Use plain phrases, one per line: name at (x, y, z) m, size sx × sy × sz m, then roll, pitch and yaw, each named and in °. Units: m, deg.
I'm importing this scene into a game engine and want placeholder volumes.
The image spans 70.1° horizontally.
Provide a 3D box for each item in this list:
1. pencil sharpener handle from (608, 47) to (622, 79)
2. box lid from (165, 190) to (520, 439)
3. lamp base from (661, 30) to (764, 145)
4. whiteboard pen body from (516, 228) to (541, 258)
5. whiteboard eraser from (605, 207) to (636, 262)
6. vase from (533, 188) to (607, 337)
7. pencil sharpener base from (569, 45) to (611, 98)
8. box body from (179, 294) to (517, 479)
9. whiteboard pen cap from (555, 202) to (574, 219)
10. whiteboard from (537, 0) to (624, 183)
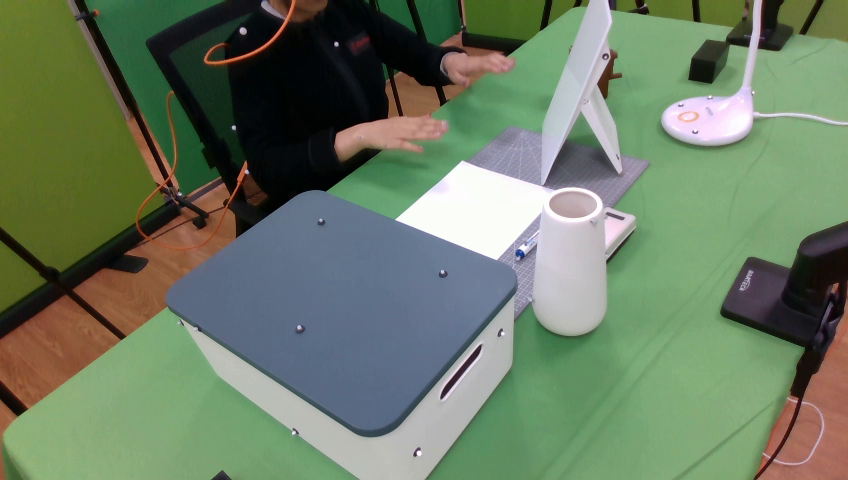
pencil sharpener handle at (0.395, -0.369, 1.254) m, size 0.031 × 0.068 × 0.036 m, roll -10°, pitch 32°, yaw -1°
box lid at (-0.104, 0.056, 0.711) m, size 0.368 × 0.015 × 0.264 m, roll 22°, pitch 49°, yaw 32°
lamp base at (0.535, -0.287, 1.096) m, size 0.179 × 0.181 × 0.159 m, roll -10°, pitch 40°, yaw -4°
whiteboard pen body at (0.192, -0.015, 0.964) m, size 0.017 × 0.017 × 0.141 m, roll 27°, pitch 51°, yaw 34°
whiteboard eraser at (0.272, -0.003, 0.919) m, size 0.055 × 0.042 × 0.113 m, roll 27°, pitch 51°, yaw 32°
vase at (0.187, 0.033, 0.771) m, size 0.098 × 0.201 × 0.097 m, roll -6°, pitch 41°, yaw 6°
pencil sharpener base at (0.346, -0.352, 1.262) m, size 0.077 × 0.107 × 0.061 m, roll -10°, pitch 40°, yaw -1°
box body at (-0.093, 0.113, 0.757) m, size 0.361 × 0.161 × 0.255 m, roll 22°, pitch 49°, yaw 32°
whiteboard pen cap at (0.230, -0.048, 0.994) m, size 0.018 × 0.018 × 0.033 m, roll 26°, pitch 54°, yaw 34°
whiteboard at (0.316, -0.256, 1.047) m, size 0.144 × 0.306 × 0.216 m, roll 15°, pitch 42°, yaw -1°
